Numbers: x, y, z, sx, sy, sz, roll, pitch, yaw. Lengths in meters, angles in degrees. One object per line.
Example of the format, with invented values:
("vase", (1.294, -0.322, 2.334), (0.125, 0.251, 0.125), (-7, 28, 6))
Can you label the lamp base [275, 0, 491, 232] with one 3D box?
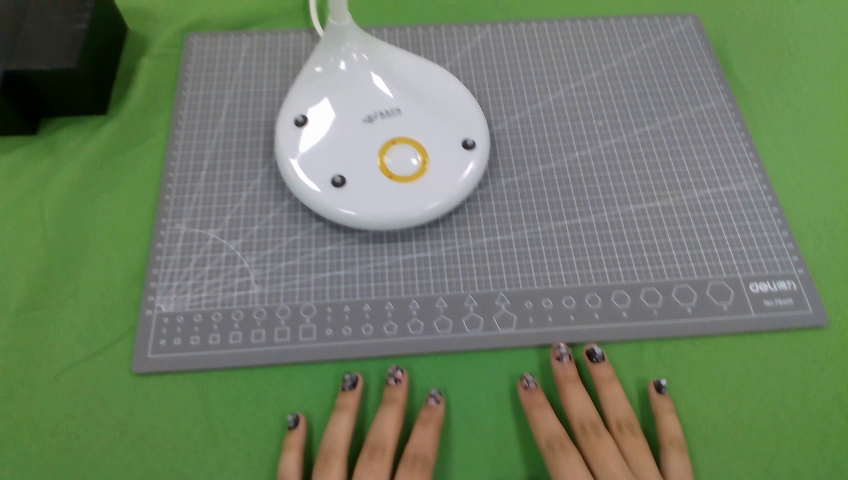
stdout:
("lamp base", (-0.037, -0.123, 0.393), (0.161, 0.182, 0.177), (-29, 61, -17))
